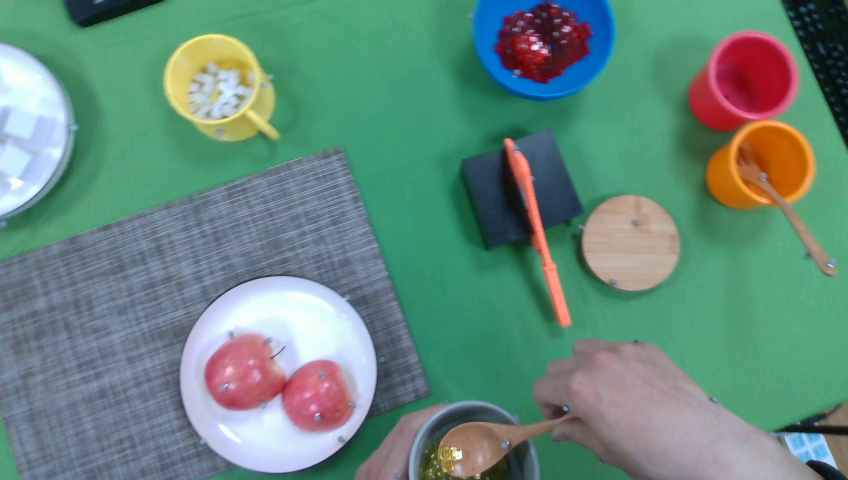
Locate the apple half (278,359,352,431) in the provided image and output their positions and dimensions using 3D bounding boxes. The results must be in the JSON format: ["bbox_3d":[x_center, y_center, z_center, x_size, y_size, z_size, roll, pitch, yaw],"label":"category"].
[{"bbox_3d":[-0.119,0.168,0.643,0.081,0.033,0.081,0,81,0],"label":"apple half"}]

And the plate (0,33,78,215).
[{"bbox_3d":[-0.486,-0.125,0.674,0.208,0.039,0.207,0,85,-1],"label":"plate"}]

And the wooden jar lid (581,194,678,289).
[{"bbox_3d":[0.231,0.003,0.686,0.108,0.021,0.108,0,85,0],"label":"wooden jar lid"}]

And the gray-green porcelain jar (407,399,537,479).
[{"bbox_3d":[0.038,0.208,0.537,0.106,0.127,0.105,0,62,0],"label":"gray-green porcelain jar"}]

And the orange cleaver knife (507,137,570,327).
[{"bbox_3d":[0.122,-0.007,0.654,0.012,0.076,0.212,-18,109,0],"label":"orange cleaver knife"}]

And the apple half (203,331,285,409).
[{"bbox_3d":[-0.193,0.139,0.636,0.074,0.053,0.080,-22,86,-1],"label":"apple half"}]

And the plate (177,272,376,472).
[{"bbox_3d":[-0.155,0.139,0.652,0.209,0.038,0.208,0,85,-1],"label":"plate"}]

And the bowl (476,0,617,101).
[{"bbox_3d":[0.129,-0.220,0.676,0.151,0.077,0.151,0,85,-1],"label":"bowl"}]

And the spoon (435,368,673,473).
[{"bbox_3d":[0.095,0.137,0.461,0.193,0.022,0.041,-26,85,22],"label":"spoon"}]

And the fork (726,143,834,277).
[{"bbox_3d":[0.365,-0.039,0.628,0.028,0.019,0.205,-4,41,-1],"label":"fork"}]

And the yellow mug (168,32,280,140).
[{"bbox_3d":[-0.209,-0.158,0.670,0.131,0.064,0.100,42,85,2],"label":"yellow mug"}]
